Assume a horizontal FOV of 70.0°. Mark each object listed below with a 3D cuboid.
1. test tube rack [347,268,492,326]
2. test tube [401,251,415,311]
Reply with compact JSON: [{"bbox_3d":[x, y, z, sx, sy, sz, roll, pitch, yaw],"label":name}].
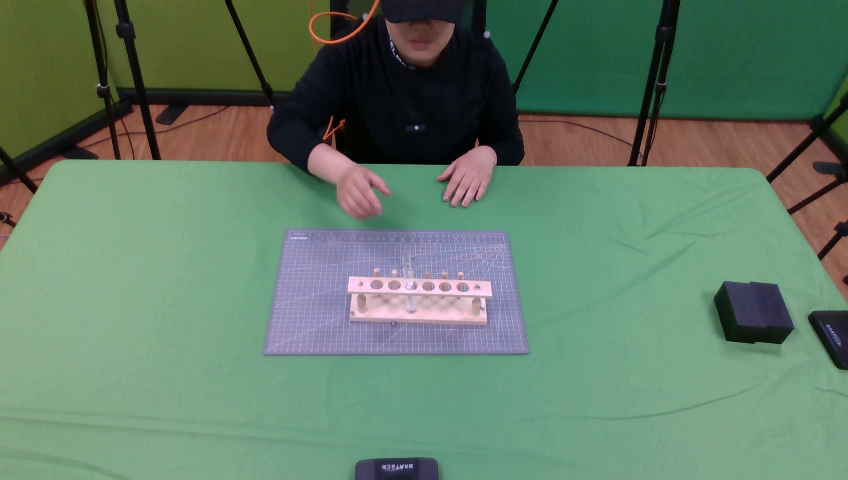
[{"bbox_3d":[-0.009,0.095,1.059,0.242,0.085,0.066,2,46,-2],"label":"test tube rack"},{"bbox_3d":[-0.026,0.072,1.011,0.017,0.151,0.017,-1,48,2],"label":"test tube"}]
